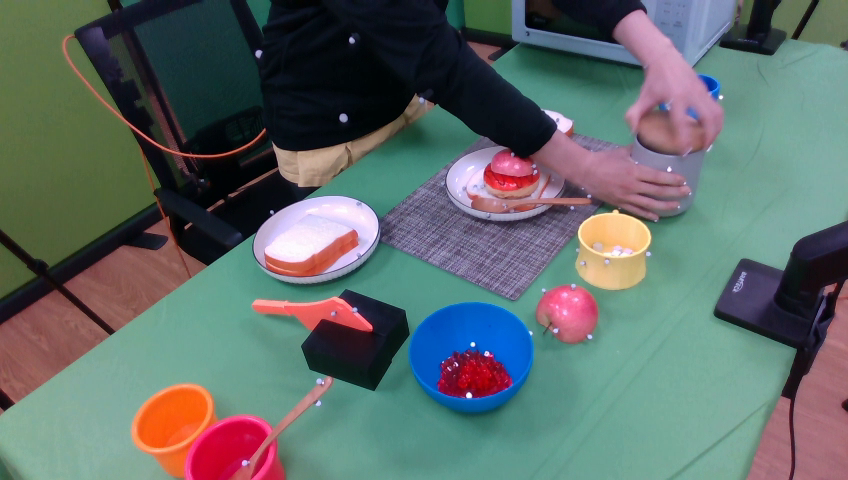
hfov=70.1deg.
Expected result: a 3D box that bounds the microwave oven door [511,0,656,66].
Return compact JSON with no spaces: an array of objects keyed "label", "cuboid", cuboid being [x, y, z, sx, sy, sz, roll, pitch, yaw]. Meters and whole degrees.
[{"label":"microwave oven door","cuboid":[0.351,-0.539,1.348,0.353,0.245,0.039,24,50,31]}]

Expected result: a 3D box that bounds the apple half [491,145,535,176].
[{"label":"apple half","cuboid":[0.148,-0.138,0.994,0.081,0.033,0.081,1,37,0]}]

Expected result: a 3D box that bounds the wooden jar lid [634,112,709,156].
[{"label":"wooden jar lid","cuboid":[0.375,-0.158,0.922,0.108,0.021,0.108,-1,44,1]}]

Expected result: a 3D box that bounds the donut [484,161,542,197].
[{"label":"donut","cuboid":[0.149,-0.110,1.016,0.099,0.048,0.098,-4,40,4]}]

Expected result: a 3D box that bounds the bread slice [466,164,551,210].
[{"label":"bread slice","cuboid":[0.141,-0.094,1.042,0.133,0.018,0.107,9,42,20]}]

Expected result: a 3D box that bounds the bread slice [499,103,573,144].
[{"label":"bread slice","cuboid":[0.231,-0.232,1.205,0.105,0.019,0.130,-36,47,-29]}]

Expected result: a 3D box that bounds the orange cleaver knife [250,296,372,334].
[{"label":"orange cleaver knife","cuboid":[-0.158,0.103,0.828,0.210,0.078,0.012,-4,43,39]}]

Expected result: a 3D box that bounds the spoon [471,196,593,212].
[{"label":"spoon","cuboid":[0.172,-0.060,0.975,0.193,0.022,0.041,-3,43,18]}]

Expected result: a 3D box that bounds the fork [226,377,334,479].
[{"label":"fork","cuboid":[-0.163,0.216,0.647,0.207,0.019,0.028,-49,41,16]}]

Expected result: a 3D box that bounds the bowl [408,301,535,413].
[{"label":"bowl","cuboid":[0.060,0.156,0.739,0.151,0.077,0.150,-4,40,4]}]

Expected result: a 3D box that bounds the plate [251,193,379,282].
[{"label":"plate","cuboid":[-0.174,-0.001,0.984,0.209,0.038,0.208,-4,40,4]}]

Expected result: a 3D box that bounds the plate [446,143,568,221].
[{"label":"plate","cuboid":[0.143,-0.097,1.045,0.207,0.039,0.206,-4,40,4]}]

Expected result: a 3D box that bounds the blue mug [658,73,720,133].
[{"label":"blue mug","cuboid":[0.483,-0.250,1.127,0.082,0.106,0.115,-25,44,-19]}]

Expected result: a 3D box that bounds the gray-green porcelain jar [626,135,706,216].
[{"label":"gray-green porcelain jar","cuboid":[0.382,-0.110,0.964,0.106,0.127,0.105,-4,41,4]}]

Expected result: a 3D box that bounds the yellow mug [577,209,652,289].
[{"label":"yellow mug","cuboid":[0.279,0.004,0.893,0.099,0.064,0.130,5,41,15]}]

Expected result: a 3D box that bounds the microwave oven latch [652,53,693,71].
[{"label":"microwave oven latch","cuboid":[0.533,-0.387,1.301,0.030,0.029,0.078,-37,48,-29]}]

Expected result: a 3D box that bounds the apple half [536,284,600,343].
[{"label":"apple half","cuboid":[0.196,0.090,0.815,0.075,0.053,0.080,-22,42,-20]}]

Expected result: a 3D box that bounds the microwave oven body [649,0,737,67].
[{"label":"microwave oven body","cuboid":[0.475,-0.602,1.411,0.438,0.261,0.327,23,50,32]}]
